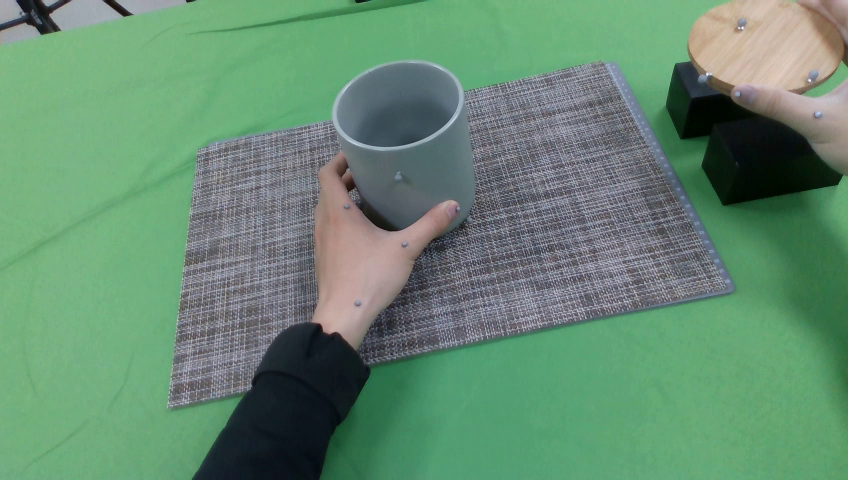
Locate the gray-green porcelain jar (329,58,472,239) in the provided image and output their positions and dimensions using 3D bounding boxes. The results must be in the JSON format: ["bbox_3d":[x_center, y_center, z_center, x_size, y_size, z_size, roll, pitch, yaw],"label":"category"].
[{"bbox_3d":[-0.014,-0.071,0.517,0.106,0.128,0.105,-5,53,7],"label":"gray-green porcelain jar"}]

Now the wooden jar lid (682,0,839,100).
[{"bbox_3d":[0.256,-0.147,0.467,0.108,0.021,0.107,-5,57,8],"label":"wooden jar lid"}]
